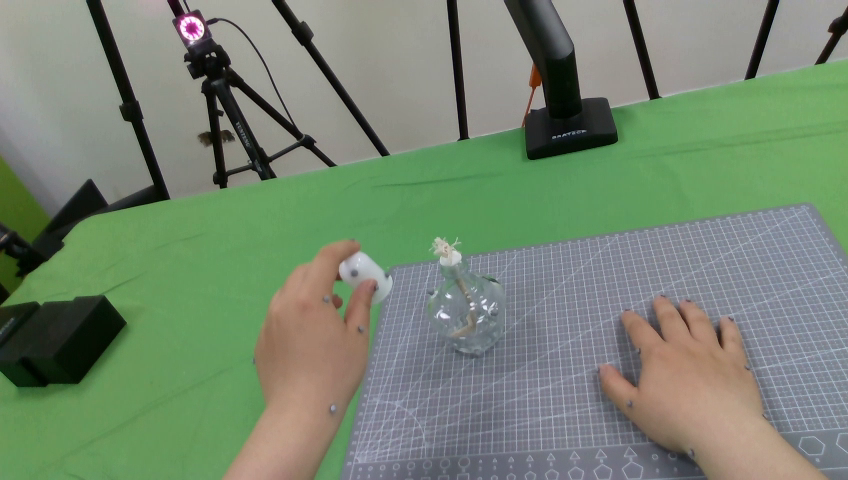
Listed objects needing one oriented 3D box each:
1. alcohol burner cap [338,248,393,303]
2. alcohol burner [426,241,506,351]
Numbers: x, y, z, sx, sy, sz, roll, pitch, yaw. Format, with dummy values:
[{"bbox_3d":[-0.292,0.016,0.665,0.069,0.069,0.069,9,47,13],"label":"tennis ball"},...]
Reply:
[{"bbox_3d":[-0.049,0.025,0.489,0.034,0.048,0.033,-17,47,20],"label":"alcohol burner cap"},{"bbox_3d":[0.036,0.047,0.563,0.078,0.120,0.077,-11,37,9],"label":"alcohol burner"}]
